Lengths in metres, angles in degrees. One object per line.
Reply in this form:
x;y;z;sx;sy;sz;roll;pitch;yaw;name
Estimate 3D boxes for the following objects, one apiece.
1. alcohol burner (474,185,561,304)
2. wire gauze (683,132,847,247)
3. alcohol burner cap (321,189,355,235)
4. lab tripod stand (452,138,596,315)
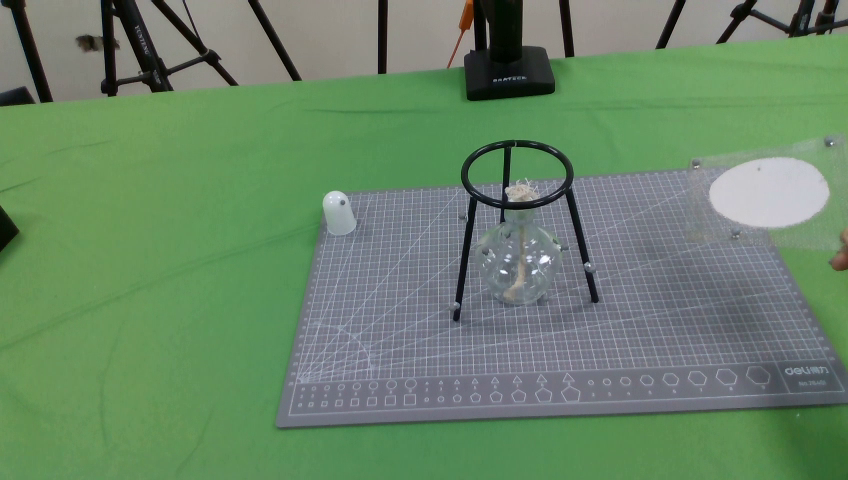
0.082;0.000;0.531;0.078;0.120;0.077;-2;43;3;alcohol burner
0.277;-0.039;0.491;0.124;0.011;0.120;-3;45;29;wire gauze
-0.092;-0.032;0.642;0.034;0.048;0.033;-3;44;3;alcohol burner cap
0.083;-0.010;0.527;0.148;0.133;0.147;-3;42;3;lab tripod stand
